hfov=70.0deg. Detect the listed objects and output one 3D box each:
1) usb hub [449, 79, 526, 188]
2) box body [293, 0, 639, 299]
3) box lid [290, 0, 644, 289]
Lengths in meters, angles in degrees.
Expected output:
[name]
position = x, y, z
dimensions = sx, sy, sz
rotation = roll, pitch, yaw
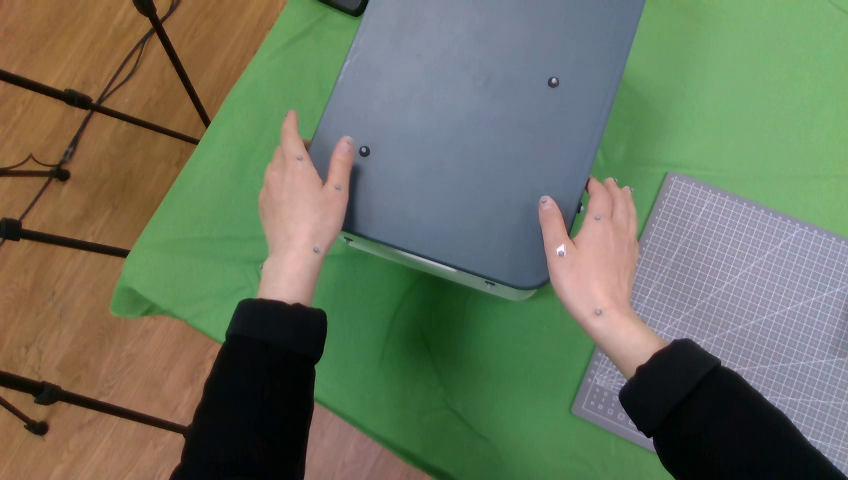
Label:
[usb hub]
position = 0.076, -0.126, 0.716
dimensions = 0.049, 0.025, 0.125
rotation = 22, 80, 10
[box body]
position = 0.055, -0.139, 0.657
dimensions = 0.253, 0.161, 0.363
rotation = 18, 79, 9
[box lid]
position = 0.048, -0.155, 0.586
dimensions = 0.262, 0.015, 0.370
rotation = 18, 79, 9
